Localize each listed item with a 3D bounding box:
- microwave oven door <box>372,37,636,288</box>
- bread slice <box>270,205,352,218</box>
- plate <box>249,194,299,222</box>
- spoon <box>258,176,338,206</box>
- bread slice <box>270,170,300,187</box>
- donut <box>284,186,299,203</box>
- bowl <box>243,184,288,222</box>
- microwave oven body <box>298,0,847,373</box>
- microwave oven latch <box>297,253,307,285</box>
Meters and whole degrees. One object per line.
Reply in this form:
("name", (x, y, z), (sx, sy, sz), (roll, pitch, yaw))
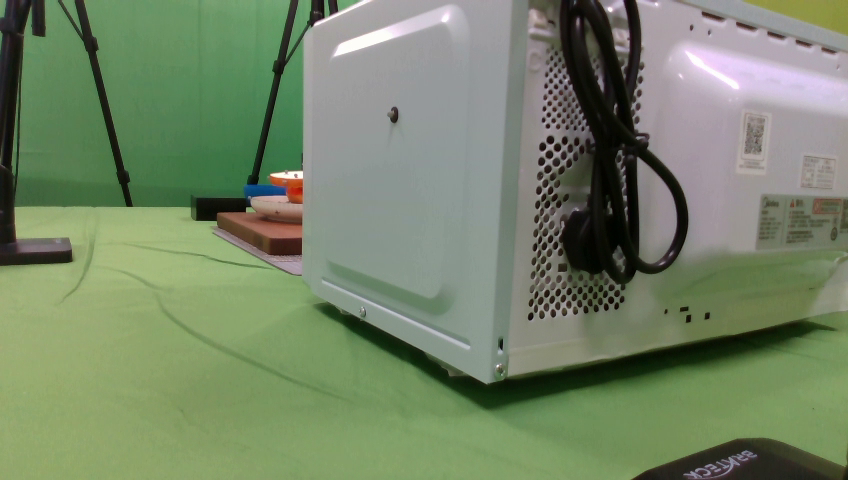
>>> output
("microwave oven door", (0.110, -0.080, 0.686), (0.358, 0.243, 0.039), (-2, 9, -33))
("bread slice", (-0.214, -0.054, 1.116), (0.104, 0.019, 0.132), (6, 5, 41))
("plate", (-0.217, -0.058, 1.122), (0.208, 0.039, 0.207), (3, 7, 0))
("spoon", (-0.279, -0.112, 1.356), (0.194, 0.021, 0.041), (-28, 16, -27))
("bread slice", (-0.213, -0.116, 1.112), (0.106, 0.018, 0.135), (9, 16, 38))
("donut", (-0.210, -0.087, 1.124), (0.099, 0.048, 0.099), (3, 0, 0))
("bowl", (-0.321, -0.081, 1.333), (0.151, 0.077, 0.151), (3, 7, 0))
("microwave oven body", (0.151, -0.055, 0.543), (0.444, 0.260, 0.324), (-1, 7, -33))
("microwave oven latch", (-0.082, 0.027, 0.582), (0.079, 0.029, 0.030), (-1, 7, -32))
